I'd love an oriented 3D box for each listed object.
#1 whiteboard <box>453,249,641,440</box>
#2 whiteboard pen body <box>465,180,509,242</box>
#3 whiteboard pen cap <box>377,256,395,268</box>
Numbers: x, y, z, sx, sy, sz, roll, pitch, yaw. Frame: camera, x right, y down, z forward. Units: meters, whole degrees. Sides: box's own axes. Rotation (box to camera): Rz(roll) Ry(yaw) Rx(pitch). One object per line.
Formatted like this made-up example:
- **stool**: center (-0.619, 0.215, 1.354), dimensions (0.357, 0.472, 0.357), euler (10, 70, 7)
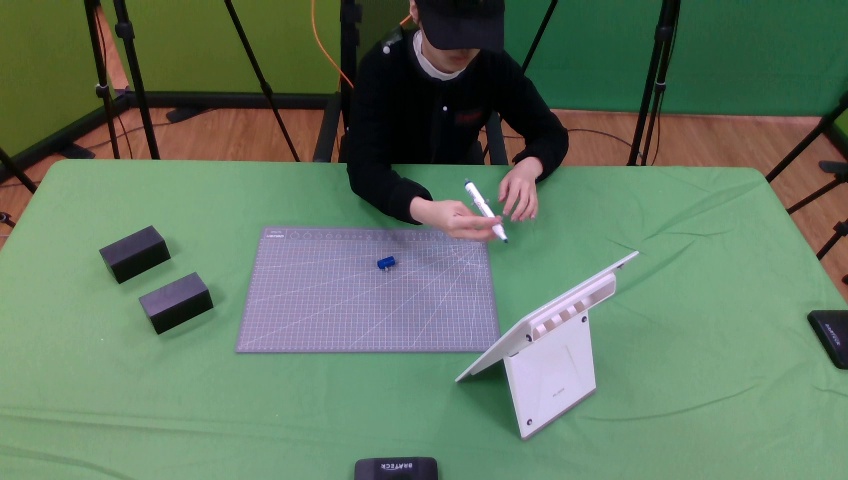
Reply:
- **whiteboard**: center (0.206, 0.174, 0.890), dimensions (0.217, 0.306, 0.143), euler (-25, 72, -25)
- **whiteboard pen body**: center (0.107, -0.049, 1.023), dimensions (0.017, 0.017, 0.140), euler (-18, 58, -20)
- **whiteboard pen cap**: center (-0.073, 0.042, 1.149), dimensions (0.033, 0.018, 0.018), euler (-19, 50, -17)
